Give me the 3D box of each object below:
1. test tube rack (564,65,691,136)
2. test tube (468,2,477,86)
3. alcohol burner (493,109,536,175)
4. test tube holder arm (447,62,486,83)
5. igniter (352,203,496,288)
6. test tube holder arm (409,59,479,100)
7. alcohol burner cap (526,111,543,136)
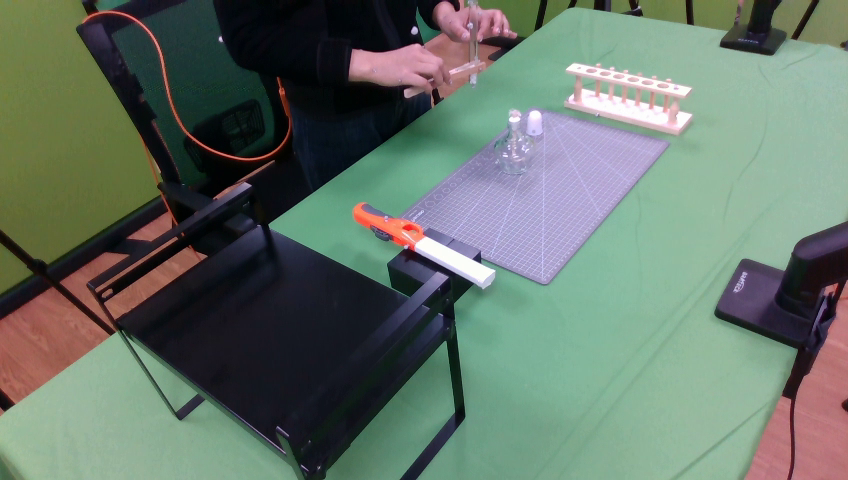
[{"bbox_3d":[0.404,-0.288,1.204,0.240,0.085,0.067,24,49,32],"label":"test tube rack"},{"bbox_3d":[0.088,-0.350,1.089,0.017,0.151,0.017,-2,37,2],"label":"test tube"},{"bbox_3d":[0.163,-0.179,1.087,0.078,0.119,0.077,-5,39,5],"label":"alcohol burner"},{"bbox_3d":[0.076,-0.305,1.102,0.088,0.015,0.010,-25,51,-26],"label":"test tube holder arm"},{"bbox_3d":[-0.011,0.002,0.899,0.274,0.025,0.057,27,45,33],"label":"igniter"},{"bbox_3d":[0.039,-0.288,1.082,0.179,0.015,0.013,-34,54,-32],"label":"test tube holder arm"},{"bbox_3d":[0.219,-0.232,1.196,0.034,0.048,0.033,-4,41,4],"label":"alcohol burner cap"}]
